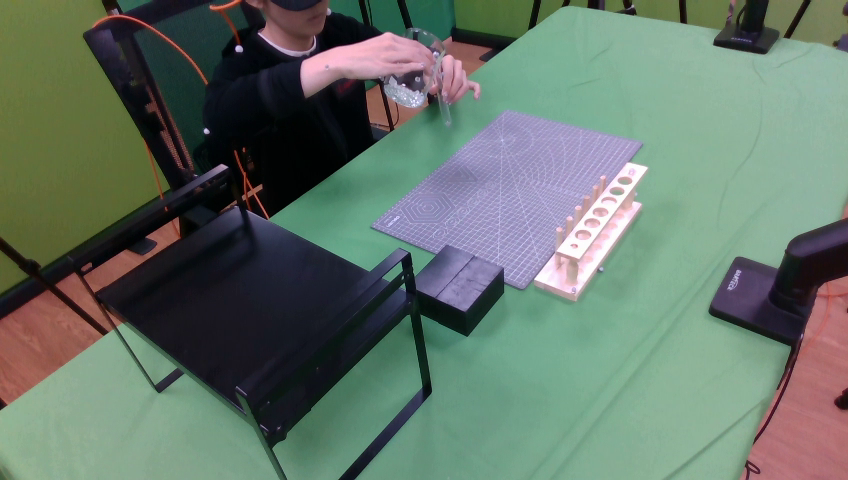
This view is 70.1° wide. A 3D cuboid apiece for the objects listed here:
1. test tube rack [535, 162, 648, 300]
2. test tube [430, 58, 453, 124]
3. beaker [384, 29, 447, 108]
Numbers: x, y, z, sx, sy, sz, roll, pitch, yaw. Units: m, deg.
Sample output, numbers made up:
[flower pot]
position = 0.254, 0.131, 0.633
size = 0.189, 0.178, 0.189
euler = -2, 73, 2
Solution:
[test tube rack]
position = 0.257, -0.024, 0.916
size = 0.066, 0.085, 0.243
euler = 22, 49, 30
[test tube]
position = 0.033, -0.259, 1.067
size = 0.017, 0.151, 0.017
euler = -6, 57, 10
[beaker]
position = -0.014, -0.268, 0.960
size = 0.073, 0.084, 0.100
euler = 18, 80, 26
